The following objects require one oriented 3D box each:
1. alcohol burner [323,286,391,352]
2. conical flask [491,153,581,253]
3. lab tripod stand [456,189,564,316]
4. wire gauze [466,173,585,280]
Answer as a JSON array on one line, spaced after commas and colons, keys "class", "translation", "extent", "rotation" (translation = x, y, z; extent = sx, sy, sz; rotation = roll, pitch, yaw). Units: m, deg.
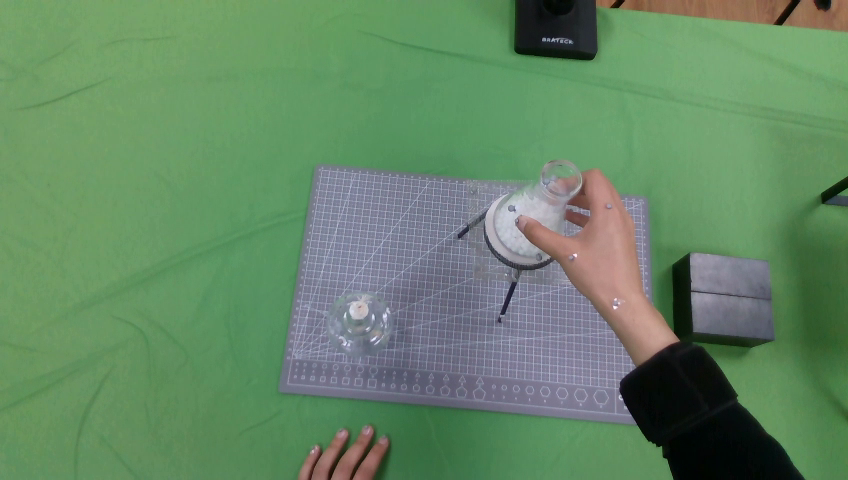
[{"class": "alcohol burner", "translation": [-0.075, 0.085, 0.684], "extent": [0.078, 0.119, 0.077], "rotation": [2, 69, -5]}, {"class": "conical flask", "translation": [0.110, -0.039, 0.571], "extent": [0.075, 0.122, 0.075], "rotation": [2, 71, -5]}, {"class": "lab tripod stand", "translation": [0.107, 0.004, 0.714], "extent": [0.148, 0.132, 0.147], "rotation": [2, 69, -4]}, {"class": "wire gauze", "translation": [0.108, -0.016, 0.650], "extent": [0.125, 0.011, 0.120], "rotation": [1, 71, -4]}]
